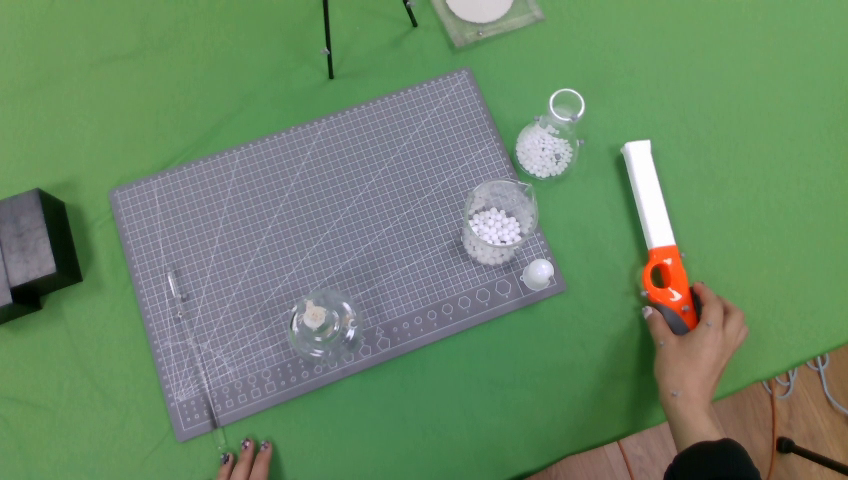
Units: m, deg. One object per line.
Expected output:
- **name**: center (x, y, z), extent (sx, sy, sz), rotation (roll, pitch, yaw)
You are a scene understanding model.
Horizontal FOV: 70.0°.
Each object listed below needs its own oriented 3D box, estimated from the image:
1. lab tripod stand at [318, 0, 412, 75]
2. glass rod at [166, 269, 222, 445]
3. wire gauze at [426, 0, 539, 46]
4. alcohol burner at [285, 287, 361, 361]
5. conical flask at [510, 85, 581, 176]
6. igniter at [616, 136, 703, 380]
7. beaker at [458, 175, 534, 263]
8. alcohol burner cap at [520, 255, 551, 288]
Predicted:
- **lab tripod stand**: center (-0.088, -0.279, 0.692), extent (0.148, 0.132, 0.147), rotation (0, 78, -1)
- **glass rod**: center (-0.249, 0.124, 0.655), extent (0.008, 0.008, 0.199), rotation (-20, 80, -5)
- **wire gauze**: center (0.065, -0.312, 0.765), extent (0.125, 0.011, 0.121), rotation (-22, 78, -7)
- **alcohol burner**: center (-0.106, 0.082, 0.612), extent (0.078, 0.119, 0.077), rotation (0, 75, 2)
- **conical flask**: center (0.138, -0.123, 0.662), extent (0.075, 0.122, 0.075), rotation (0, 76, 1)
- **igniter**: center (0.262, 0.015, 0.677), extent (0.057, 0.025, 0.275), rotation (-8, 77, -8)
- **beaker**: center (0.075, -0.019, 0.645), extent (0.073, 0.100, 0.084), rotation (44, 80, 10)
- **alcohol burner cap**: center (0.124, 0.032, 0.662), extent (0.034, 0.048, 0.033), rotation (0, 76, 0)
